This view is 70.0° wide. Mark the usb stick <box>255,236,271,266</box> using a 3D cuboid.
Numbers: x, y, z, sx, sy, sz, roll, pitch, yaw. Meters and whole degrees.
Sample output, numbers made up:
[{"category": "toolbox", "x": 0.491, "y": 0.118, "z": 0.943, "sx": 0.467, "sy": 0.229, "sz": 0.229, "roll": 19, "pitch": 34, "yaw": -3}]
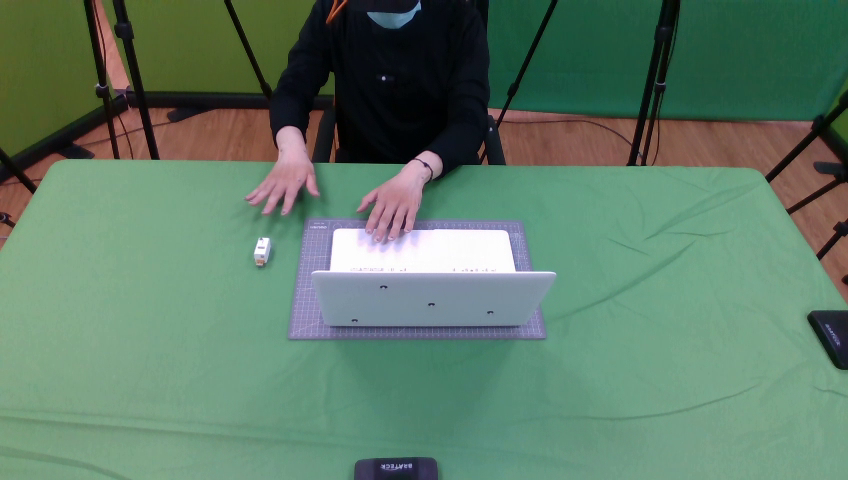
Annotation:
[{"category": "usb stick", "x": -0.306, "y": 0.022, "z": 1.148, "sx": 0.021, "sy": 0.027, "sz": 0.059, "roll": 3, "pitch": 50, "yaw": -1}]

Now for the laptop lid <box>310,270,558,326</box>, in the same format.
[{"category": "laptop lid", "x": 0.011, "y": 0.095, "z": 0.948, "sx": 0.357, "sy": 0.242, "sz": 0.013, "roll": 1, "pitch": 64, "yaw": -5}]

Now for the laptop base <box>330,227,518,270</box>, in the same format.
[{"category": "laptop base", "x": 0.001, "y": 0.063, "z": 1.134, "sx": 0.354, "sy": 0.023, "sz": 0.234, "roll": 0, "pitch": 43, "yaw": -3}]
